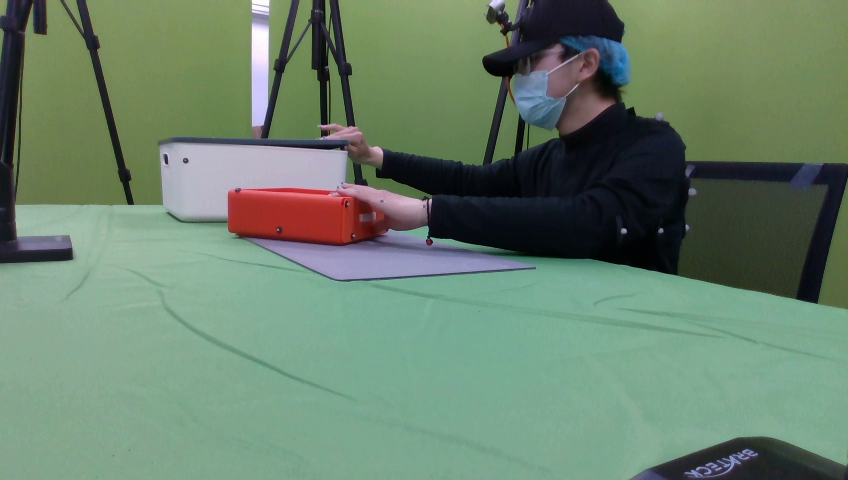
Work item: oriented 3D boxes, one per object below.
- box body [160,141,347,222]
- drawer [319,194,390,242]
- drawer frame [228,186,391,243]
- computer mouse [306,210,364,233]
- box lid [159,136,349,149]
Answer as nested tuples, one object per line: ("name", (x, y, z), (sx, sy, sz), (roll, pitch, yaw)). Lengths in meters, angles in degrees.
("box body", (-0.380, -0.133, 1.352), (0.366, 0.160, 0.253), (-2, 9, -30))
("drawer", (-0.189, -0.047, 1.060), (0.211, 0.073, 0.195), (4, 8, 18))
("drawer frame", (-0.193, -0.050, 1.060), (0.213, 0.082, 0.202), (4, 8, 17))
("computer mouse", (-0.154, -0.031, 1.052), (0.062, 0.041, 0.117), (1, 0, 18))
("box lid", (-0.376, -0.211, 1.343), (0.373, 0.015, 0.262), (-4, 7, -30))
